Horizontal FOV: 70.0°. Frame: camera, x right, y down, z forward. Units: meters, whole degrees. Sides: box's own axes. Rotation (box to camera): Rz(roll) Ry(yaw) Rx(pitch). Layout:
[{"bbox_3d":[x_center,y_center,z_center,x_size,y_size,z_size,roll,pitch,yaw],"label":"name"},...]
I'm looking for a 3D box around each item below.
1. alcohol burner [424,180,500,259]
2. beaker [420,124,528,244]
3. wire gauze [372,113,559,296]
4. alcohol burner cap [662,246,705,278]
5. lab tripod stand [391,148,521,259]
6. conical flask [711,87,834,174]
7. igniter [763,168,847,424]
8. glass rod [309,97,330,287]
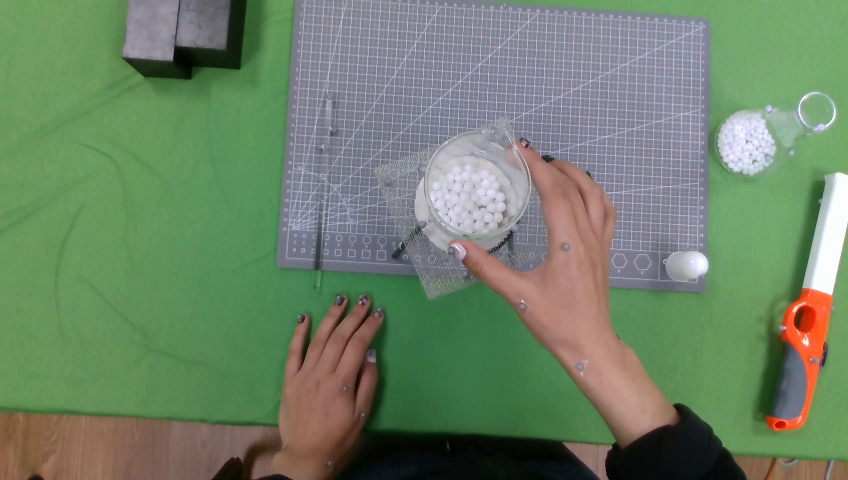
[{"bbox_3d":[0.036,-0.022,0.581,0.078,0.119,0.077,0,84,0],"label":"alcohol burner"},{"bbox_3d":[0.034,-0.038,0.458,0.074,0.100,0.084,25,84,0],"label":"beaker"},{"bbox_3d":[0.035,-0.030,0.506,0.125,0.011,0.121,-22,89,-5],"label":"wire gauze"},{"bbox_3d":[0.269,0.021,0.621,0.034,0.048,0.034,0,85,-2],"label":"alcohol burner cap"},{"bbox_3d":[0.033,-0.024,0.571,0.148,0.131,0.148,0,87,-1],"label":"lab tripod stand"},{"bbox_3d":[0.345,-0.113,0.598,0.075,0.122,0.075,0,84,-1],"label":"conical flask"},{"bbox_3d":[0.404,0.059,0.633,0.057,0.025,0.276,18,85,-11],"label":"igniter"},{"bbox_3d":[-0.108,-0.050,0.630,0.008,0.008,0.199,4,88,-2],"label":"glass rod"}]
